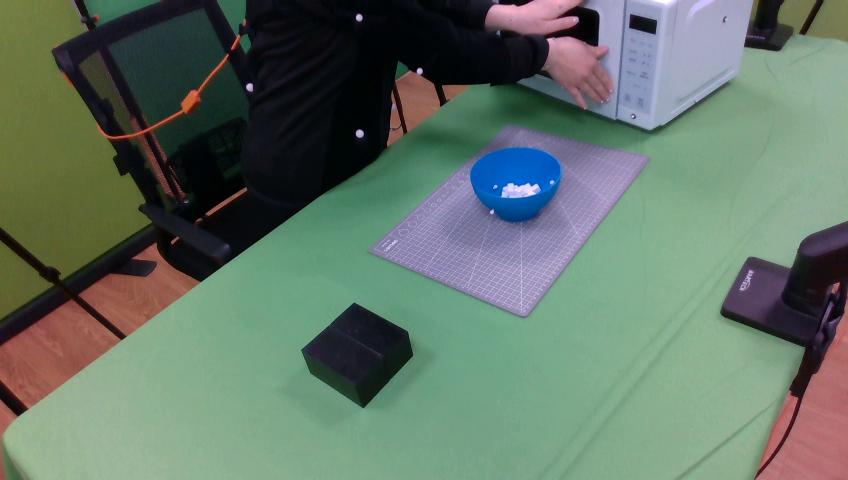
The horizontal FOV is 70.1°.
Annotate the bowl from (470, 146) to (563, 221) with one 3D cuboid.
[{"bbox_3d":[0.155,-0.084,1.008,0.151,0.077,0.150,-6,40,5],"label":"bowl"}]

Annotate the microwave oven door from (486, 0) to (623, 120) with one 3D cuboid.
[{"bbox_3d":[0.260,-0.408,1.219,0.039,0.245,0.352,-33,45,-24],"label":"microwave oven door"}]

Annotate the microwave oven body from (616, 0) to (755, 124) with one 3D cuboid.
[{"bbox_3d":[0.402,-0.458,1.259,0.327,0.261,0.437,-33,45,-24],"label":"microwave oven body"}]

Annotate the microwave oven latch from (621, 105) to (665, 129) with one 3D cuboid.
[{"bbox_3d":[0.413,-0.237,1.146,0.030,0.029,0.078,-31,44,-23],"label":"microwave oven latch"}]
